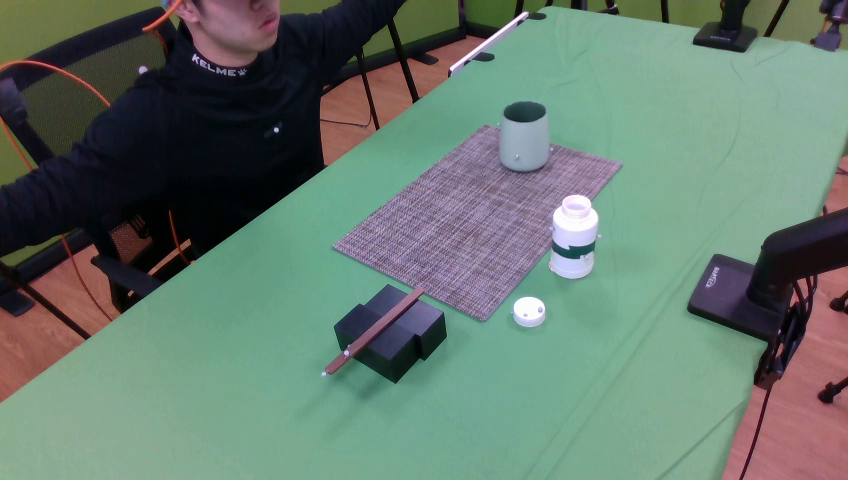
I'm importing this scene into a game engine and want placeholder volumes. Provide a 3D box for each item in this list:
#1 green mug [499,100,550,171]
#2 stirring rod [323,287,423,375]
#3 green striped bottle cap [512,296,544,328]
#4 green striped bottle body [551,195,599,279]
[{"bbox_3d":[0.183,-0.197,1.101,0.092,0.105,0.125,-1,41,8],"label":"green mug"},{"bbox_3d":[-0.062,0.114,0.781,0.014,0.006,0.177,25,49,34],"label":"stirring rod"},{"bbox_3d":[0.144,0.099,0.837,0.044,0.020,0.044,-1,43,2],"label":"green striped bottle cap"},{"bbox_3d":[0.217,-0.006,0.870,0.063,0.120,0.063,-4,41,4],"label":"green striped bottle body"}]
